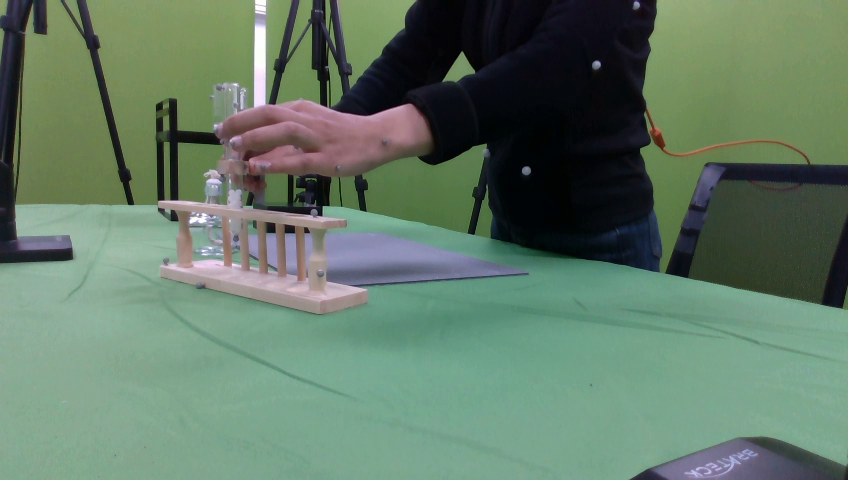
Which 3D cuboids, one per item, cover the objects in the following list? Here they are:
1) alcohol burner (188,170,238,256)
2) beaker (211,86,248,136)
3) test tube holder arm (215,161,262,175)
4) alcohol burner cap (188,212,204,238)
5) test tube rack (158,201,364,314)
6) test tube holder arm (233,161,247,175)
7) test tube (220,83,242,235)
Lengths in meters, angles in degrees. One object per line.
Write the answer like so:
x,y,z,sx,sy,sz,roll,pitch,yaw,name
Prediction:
-0.297,-0.038,0.850,0.078,0.119,0.078,1,6,0,alcohol burner
-0.414,-0.274,1.297,0.074,0.100,0.083,-5,11,-44,beaker
-0.203,-0.080,0.672,0.013,0.015,0.178,2,7,-5,test tube holder arm
-0.390,-0.029,1.025,0.034,0.048,0.034,2,9,0,alcohol burner cap
-0.174,0.009,0.624,0.241,0.085,0.067,7,9,34,test tube rack
-0.191,-0.075,0.629,0.010,0.015,0.087,0,7,-14,test tube holder arm
-0.192,-0.079,0.604,0.017,0.150,0.017,1,10,0,test tube
